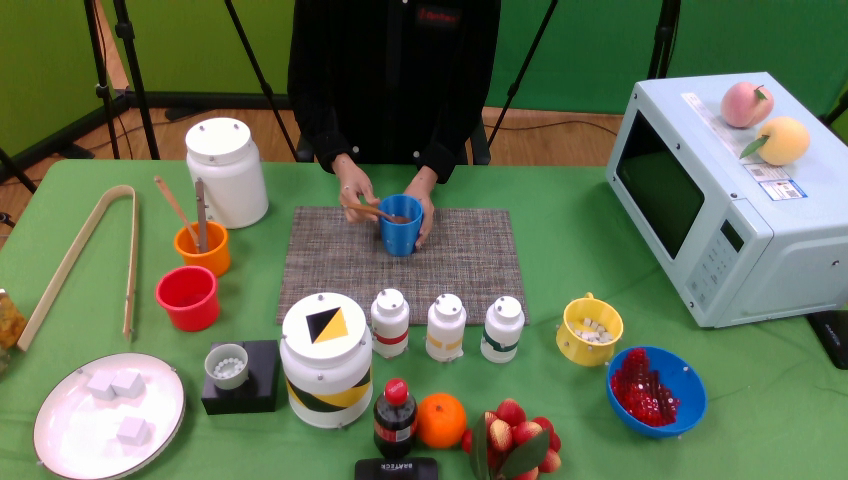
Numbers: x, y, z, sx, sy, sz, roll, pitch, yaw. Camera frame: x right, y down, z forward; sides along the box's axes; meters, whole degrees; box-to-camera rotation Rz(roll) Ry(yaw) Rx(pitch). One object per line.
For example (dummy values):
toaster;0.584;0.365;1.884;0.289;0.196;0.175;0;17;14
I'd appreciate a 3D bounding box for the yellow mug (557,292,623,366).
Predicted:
yellow mug;0.285;0.145;1.051;0.100;0.064;0.130;7;46;4

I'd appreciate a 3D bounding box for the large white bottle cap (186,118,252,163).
large white bottle cap;-0.377;-0.185;1.115;0.115;0.018;0.114;2;47;-2

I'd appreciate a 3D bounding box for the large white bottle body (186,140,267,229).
large white bottle body;-0.382;-0.127;1.175;0.131;0.185;0.130;2;47;-2

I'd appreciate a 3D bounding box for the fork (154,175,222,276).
fork;-0.431;-0.027;1.101;0.028;0.018;0.207;-33;100;-25

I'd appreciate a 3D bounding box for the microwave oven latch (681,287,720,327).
microwave oven latch;0.494;0.119;1.087;0.030;0.029;0.078;-6;46;-9

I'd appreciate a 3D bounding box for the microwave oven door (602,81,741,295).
microwave oven door;0.456;-0.107;1.162;0.039;0.245;0.353;-7;47;-11

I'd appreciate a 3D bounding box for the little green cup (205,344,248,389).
little green cup;-0.293;0.191;0.909;0.061;0.039;0.061;1;47;-1

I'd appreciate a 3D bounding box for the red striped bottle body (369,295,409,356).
red striped bottle body;-0.059;0.134;0.997;0.063;0.120;0.062;5;48;-5

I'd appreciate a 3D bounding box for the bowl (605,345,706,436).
bowl;0.351;0.247;0.949;0.151;0.077;0.150;2;46;-2

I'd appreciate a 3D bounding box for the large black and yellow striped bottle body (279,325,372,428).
large black and yellow striped bottle body;-0.143;0.181;0.900;0.131;0.185;0.130;2;46;-2

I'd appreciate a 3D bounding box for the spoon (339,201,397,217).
spoon;-0.085;-0.047;1.100;0.195;0.021;0.041;21;27;-53

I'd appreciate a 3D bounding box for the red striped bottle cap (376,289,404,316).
red striped bottle cap;-0.055;0.098;0.958;0.044;0.018;0.044;0;48;0

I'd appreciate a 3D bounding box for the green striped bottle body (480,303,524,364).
green striped bottle body;0.129;0.147;1.000;0.063;0.120;0.063;2;46;-2

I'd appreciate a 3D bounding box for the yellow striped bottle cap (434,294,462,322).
yellow striped bottle cap;0.038;0.107;0.958;0.044;0.019;0.044;2;45;-2

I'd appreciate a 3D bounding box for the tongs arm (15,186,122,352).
tongs arm;-0.642;0.037;1.107;0.028;0.028;0.385;-2;46;5

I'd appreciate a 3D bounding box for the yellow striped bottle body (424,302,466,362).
yellow striped bottle body;0.035;0.143;0.995;0.063;0.121;0.062;3;46;-3

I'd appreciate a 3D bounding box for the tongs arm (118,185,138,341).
tongs arm;-0.555;0.028;1.116;0.051;0.027;0.382;-11;47;-8

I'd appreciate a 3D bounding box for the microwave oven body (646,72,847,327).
microwave oven body;0.607;-0.089;1.164;0.326;0.261;0.438;-7;46;-10

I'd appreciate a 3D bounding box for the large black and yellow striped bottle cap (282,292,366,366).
large black and yellow striped bottle cap;-0.138;0.121;0.841;0.115;0.019;0.114;3;47;-3

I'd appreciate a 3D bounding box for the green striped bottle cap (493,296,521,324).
green striped bottle cap;0.133;0.111;0.962;0.044;0.020;0.044;2;47;-2

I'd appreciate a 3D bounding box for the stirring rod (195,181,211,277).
stirring rod;-0.403;-0.020;1.104;0.014;0.006;0.176;-6;89;-9

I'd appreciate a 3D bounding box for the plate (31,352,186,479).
plate;-0.459;0.262;0.898;0.209;0.038;0.208;2;46;-2

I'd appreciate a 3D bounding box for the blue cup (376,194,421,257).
blue cup;-0.047;-0.023;1.157;0.092;0.101;0.092;0;46;0
